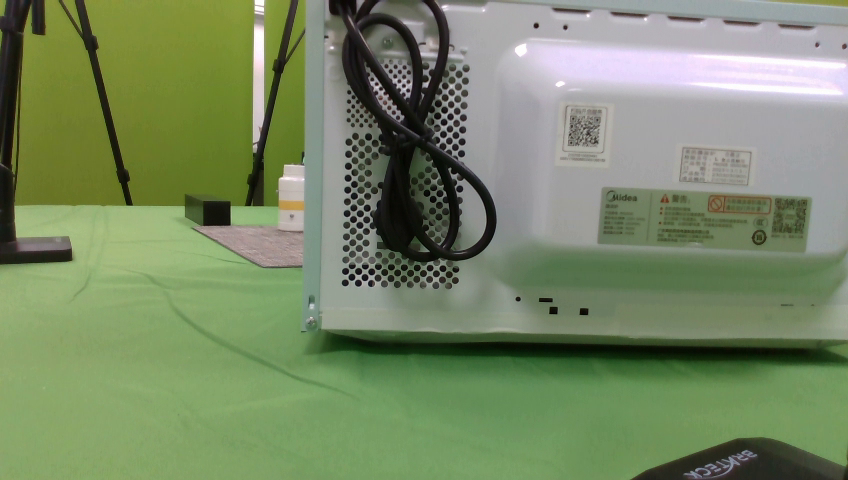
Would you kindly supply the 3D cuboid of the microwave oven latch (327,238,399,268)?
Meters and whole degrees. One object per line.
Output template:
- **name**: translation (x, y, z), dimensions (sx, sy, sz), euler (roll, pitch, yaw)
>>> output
- **microwave oven latch**: translation (-0.069, 0.015, 0.694), dimensions (0.079, 0.029, 0.030), euler (3, 7, -3)

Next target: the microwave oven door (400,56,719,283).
- **microwave oven door**: translation (0.155, -0.077, 0.698), dimensions (0.356, 0.243, 0.039), euler (2, 8, -5)

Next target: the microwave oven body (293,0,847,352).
- **microwave oven body**: translation (0.122, -0.055, 0.551), dimensions (0.442, 0.260, 0.325), euler (3, 7, -5)

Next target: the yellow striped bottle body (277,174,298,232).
- **yellow striped bottle body**: translation (-0.242, -0.078, 1.130), dimensions (0.063, 0.120, 0.063), euler (2, 8, 0)

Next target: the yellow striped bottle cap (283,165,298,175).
- **yellow striped bottle cap**: translation (-0.240, -0.129, 1.124), dimensions (0.044, 0.018, 0.044), euler (5, 7, 0)
